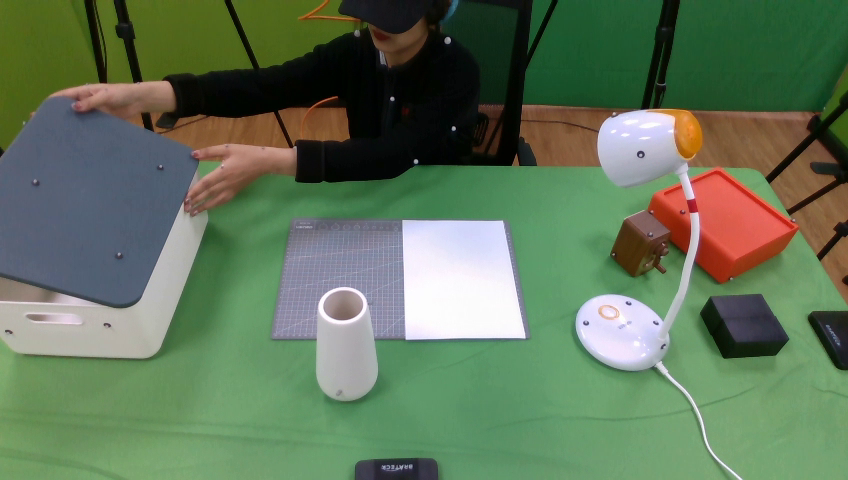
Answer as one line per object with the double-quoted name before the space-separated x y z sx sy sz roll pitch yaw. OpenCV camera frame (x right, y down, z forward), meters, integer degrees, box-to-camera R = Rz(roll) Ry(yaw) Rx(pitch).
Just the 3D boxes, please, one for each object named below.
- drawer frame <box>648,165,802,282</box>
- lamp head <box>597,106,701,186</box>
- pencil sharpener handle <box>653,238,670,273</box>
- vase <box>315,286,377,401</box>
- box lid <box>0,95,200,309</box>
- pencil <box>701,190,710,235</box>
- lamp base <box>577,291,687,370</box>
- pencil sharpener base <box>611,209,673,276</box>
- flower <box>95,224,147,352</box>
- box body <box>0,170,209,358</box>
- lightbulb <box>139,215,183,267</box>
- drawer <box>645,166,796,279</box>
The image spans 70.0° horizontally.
"drawer frame" 0.603 -0.040 1.233 0.202 0.083 0.212 -21 51 -23
"lamp head" 0.329 -0.138 0.865 0.112 0.113 0.122 -36 20 -32
"pencil sharpener handle" 0.444 0.030 1.120 0.036 0.068 0.030 -25 52 -18
"vase" -0.119 0.159 0.911 0.098 0.201 0.097 2 47 -2
"box lid" -0.526 -0.075 0.954 0.264 0.015 0.369 22 43 -20
"pencil" 0.584 -0.059 1.256 0.012 0.012 0.193 16 34 11
"lamp base" 0.361 0.110 1.003 0.160 0.181 0.178 -31 57 -28
"pencil sharpener base" 0.416 0.007 1.158 0.061 0.107 0.076 -21 51 -22
"flower" -0.558 0.071 1.089 0.044 0.038 0.359 -29 48 -16
"box body" -0.546 0.017 1.045 0.254 0.161 0.361 2 46 -2
"lightbulb" -0.495 0.002 1.131 0.059 0.060 0.107 17 63 13
"drawer" 0.600 -0.041 1.236 0.195 0.073 0.210 -21 51 -23
